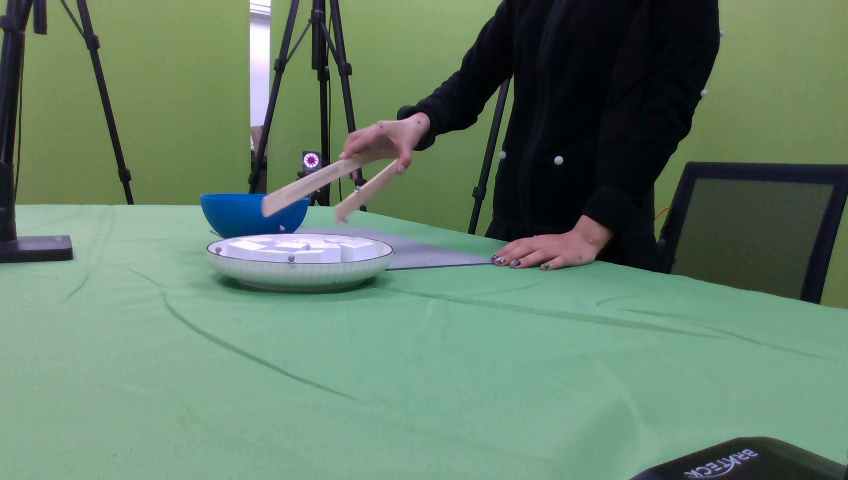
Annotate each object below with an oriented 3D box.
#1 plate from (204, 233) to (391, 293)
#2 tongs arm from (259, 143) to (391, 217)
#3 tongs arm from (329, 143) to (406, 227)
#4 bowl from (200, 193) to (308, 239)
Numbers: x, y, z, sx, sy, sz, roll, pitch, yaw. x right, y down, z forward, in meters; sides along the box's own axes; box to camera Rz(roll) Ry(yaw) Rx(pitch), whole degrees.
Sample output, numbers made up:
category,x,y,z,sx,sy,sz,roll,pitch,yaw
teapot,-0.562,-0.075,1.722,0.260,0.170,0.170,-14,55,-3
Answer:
category,x,y,z,sx,sy,sz,roll,pitch,yaw
plate,-0.143,0.025,0.697,0.208,0.039,0.207,3,9,0
tongs arm,-0.132,-0.099,0.895,0.028,0.028,0.388,4,20,18
tongs arm,-0.082,-0.092,0.885,0.050,0.026,0.385,6,21,13
bowl,-0.245,-0.025,0.879,0.151,0.077,0.151,2,8,0
